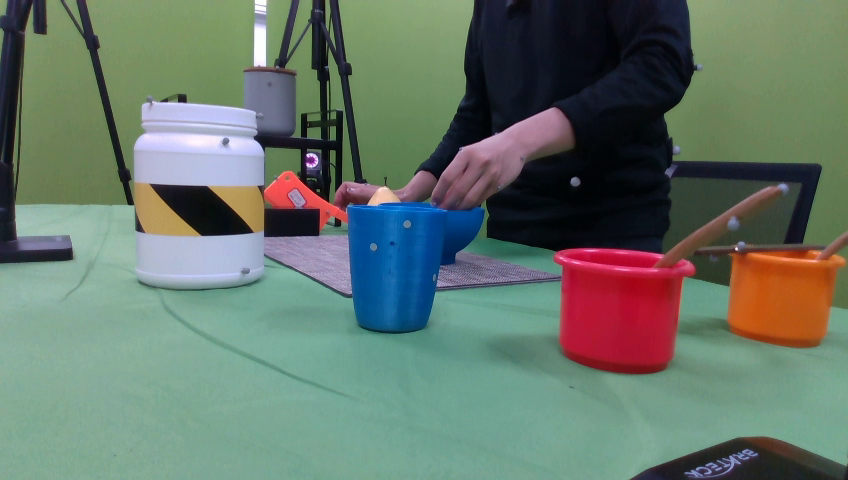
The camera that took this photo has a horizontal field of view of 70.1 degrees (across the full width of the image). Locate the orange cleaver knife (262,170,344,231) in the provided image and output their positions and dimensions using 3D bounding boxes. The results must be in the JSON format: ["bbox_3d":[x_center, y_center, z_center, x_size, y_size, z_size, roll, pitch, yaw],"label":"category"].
[{"bbox_3d":[-0.201,-0.057,1.136,0.212,0.077,0.012,31,-3,-31],"label":"orange cleaver knife"}]

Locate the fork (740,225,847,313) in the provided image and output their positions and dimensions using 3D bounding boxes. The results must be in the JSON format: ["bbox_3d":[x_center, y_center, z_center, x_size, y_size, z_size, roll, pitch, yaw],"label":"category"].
[{"bbox_3d":[0.323,0.013,0.485,0.028,0.018,0.207,8,-37,-5],"label":"fork"}]

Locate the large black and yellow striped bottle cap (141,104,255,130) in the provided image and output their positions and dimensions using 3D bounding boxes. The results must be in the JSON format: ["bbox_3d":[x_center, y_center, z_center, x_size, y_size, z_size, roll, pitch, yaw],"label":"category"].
[{"bbox_3d":[-0.241,-0.131,0.650,0.115,0.019,0.115,3,8,0],"label":"large black and yellow striped bottle cap"}]

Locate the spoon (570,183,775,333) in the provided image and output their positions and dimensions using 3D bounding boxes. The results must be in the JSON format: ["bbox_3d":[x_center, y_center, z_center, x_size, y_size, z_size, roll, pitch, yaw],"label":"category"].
[{"bbox_3d":[0.160,0.020,0.413,0.042,0.021,0.193,0,-36,-23],"label":"spoon"}]

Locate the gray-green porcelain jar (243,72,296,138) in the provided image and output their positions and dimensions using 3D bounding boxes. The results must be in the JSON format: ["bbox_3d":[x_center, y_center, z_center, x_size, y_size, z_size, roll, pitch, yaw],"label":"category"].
[{"bbox_3d":[-0.322,-0.279,1.263,0.106,0.126,0.106,3,8,0],"label":"gray-green porcelain jar"}]

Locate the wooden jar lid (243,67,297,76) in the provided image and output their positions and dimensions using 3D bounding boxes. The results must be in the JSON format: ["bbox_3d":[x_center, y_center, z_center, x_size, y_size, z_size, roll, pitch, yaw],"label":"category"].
[{"bbox_3d":[-0.319,-0.342,1.254,0.108,0.020,0.108,3,8,0],"label":"wooden jar lid"}]

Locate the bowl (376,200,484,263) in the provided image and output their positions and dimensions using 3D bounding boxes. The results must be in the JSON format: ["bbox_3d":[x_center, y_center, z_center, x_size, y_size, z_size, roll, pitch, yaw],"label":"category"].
[{"bbox_3d":[0.007,-0.012,0.842,0.151,0.077,0.151,2,8,0],"label":"bowl"}]

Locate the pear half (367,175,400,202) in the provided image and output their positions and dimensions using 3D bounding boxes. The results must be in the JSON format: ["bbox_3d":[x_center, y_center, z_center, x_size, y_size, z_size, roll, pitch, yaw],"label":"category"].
[{"bbox_3d":[-0.064,-0.061,1.077,0.055,0.110,0.077,9,13,39],"label":"pear half"}]

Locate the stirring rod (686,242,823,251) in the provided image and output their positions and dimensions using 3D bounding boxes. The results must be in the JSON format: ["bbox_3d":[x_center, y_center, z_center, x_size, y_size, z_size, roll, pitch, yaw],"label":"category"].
[{"bbox_3d":[0.289,0.005,0.525,0.177,0.006,0.014,-1,5,-26],"label":"stirring rod"}]

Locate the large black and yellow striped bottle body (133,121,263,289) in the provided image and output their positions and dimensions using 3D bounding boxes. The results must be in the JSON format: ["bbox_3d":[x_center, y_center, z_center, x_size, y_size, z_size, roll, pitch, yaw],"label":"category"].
[{"bbox_3d":[-0.243,-0.048,0.659,0.131,0.184,0.130,2,7,0],"label":"large black and yellow striped bottle body"}]

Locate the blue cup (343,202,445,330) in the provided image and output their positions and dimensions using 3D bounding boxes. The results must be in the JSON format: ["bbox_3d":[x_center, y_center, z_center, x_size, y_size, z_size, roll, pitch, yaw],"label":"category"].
[{"bbox_3d":[-0.027,0.020,0.510,0.093,0.100,0.092,3,5,0],"label":"blue cup"}]

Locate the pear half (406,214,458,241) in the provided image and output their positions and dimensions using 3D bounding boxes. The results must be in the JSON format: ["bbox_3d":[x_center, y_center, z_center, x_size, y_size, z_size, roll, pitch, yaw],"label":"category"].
[{"bbox_3d":[0.007,-0.020,0.847,0.070,0.031,0.088,2,11,39],"label":"pear half"}]
